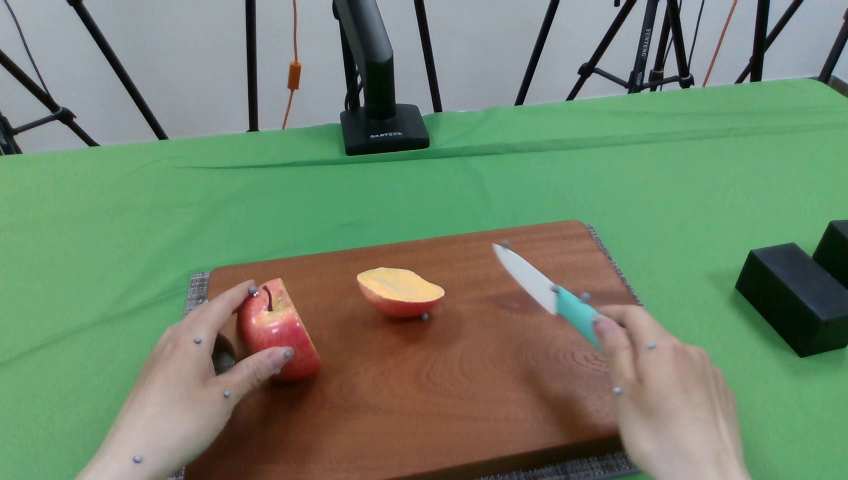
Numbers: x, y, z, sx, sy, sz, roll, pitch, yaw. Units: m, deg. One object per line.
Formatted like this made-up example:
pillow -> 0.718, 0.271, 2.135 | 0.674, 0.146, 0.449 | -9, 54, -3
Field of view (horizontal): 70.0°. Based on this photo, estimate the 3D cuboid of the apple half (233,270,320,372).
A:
apple half -> -0.124, 0.073, 0.493 | 0.053, 0.075, 0.080 | -27, 51, -14

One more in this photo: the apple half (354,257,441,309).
apple half -> -0.029, 0.045, 0.551 | 0.081, 0.033, 0.081 | 13, 18, -4

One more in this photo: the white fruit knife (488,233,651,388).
white fruit knife -> 0.108, 0.043, 0.491 | 0.016, 0.027, 0.205 | 12, 21, -36
